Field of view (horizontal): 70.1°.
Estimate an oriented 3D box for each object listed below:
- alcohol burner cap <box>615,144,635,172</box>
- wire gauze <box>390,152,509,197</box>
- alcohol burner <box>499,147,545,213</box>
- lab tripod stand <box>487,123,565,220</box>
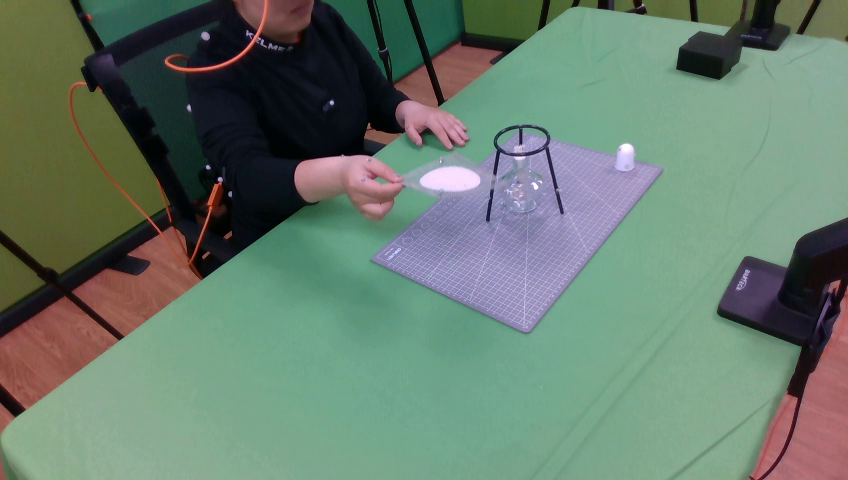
[{"bbox_3d":[0.357,-0.147,1.069,0.034,0.048,0.033,-6,40,6],"label":"alcohol burner cap"},{"bbox_3d":[0.035,-0.092,0.860,0.126,0.011,0.120,-19,34,-29],"label":"wire gauze"},{"bbox_3d":[0.161,-0.104,1.001,0.078,0.120,0.077,-6,42,6],"label":"alcohol burner"},{"bbox_3d":[0.162,-0.110,0.992,0.148,0.132,0.147,-5,42,5],"label":"lab tripod stand"}]
